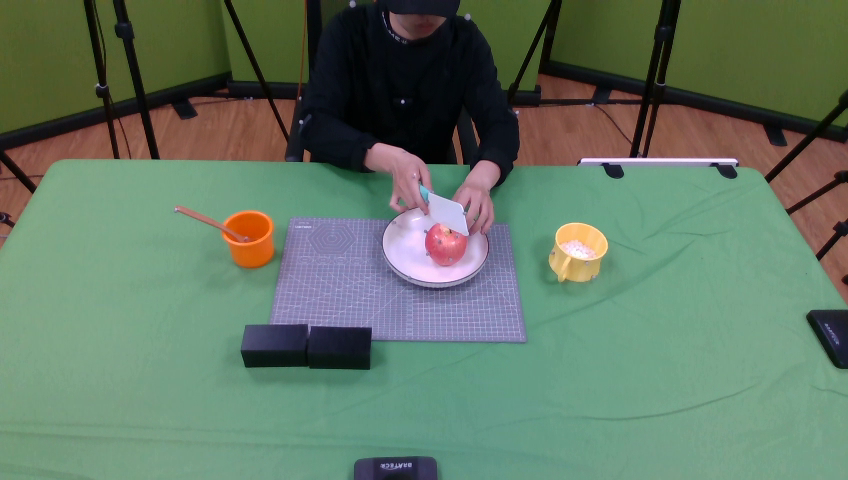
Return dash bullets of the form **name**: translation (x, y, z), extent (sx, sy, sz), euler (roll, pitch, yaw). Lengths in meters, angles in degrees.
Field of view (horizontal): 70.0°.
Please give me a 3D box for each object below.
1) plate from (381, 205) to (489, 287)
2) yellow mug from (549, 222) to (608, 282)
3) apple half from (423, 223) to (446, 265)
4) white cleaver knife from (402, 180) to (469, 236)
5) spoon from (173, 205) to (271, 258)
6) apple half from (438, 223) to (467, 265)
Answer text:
- **plate**: translation (0.020, 0.015, 1.171), extent (0.209, 0.038, 0.208), euler (2, 46, -2)
- **yellow mug**: translation (0.287, 0.031, 1.159), extent (0.099, 0.064, 0.130), euler (27, 51, 21)
- **apple half**: translation (0.015, 0.012, 1.135), extent (0.033, 0.081, 0.080), euler (-4, 46, -16)
- **white cleaver knife**: translation (0.014, -0.063, 1.134), extent (0.021, 0.066, 0.285), euler (-14, 19, -18)
- **spoon**: translation (-0.362, -0.017, 1.098), extent (0.021, 0.195, 0.041), euler (-32, 42, 27)
- **apple half**: translation (0.053, 0.006, 1.145), extent (0.053, 0.075, 0.080), euler (-6, 42, -15)
